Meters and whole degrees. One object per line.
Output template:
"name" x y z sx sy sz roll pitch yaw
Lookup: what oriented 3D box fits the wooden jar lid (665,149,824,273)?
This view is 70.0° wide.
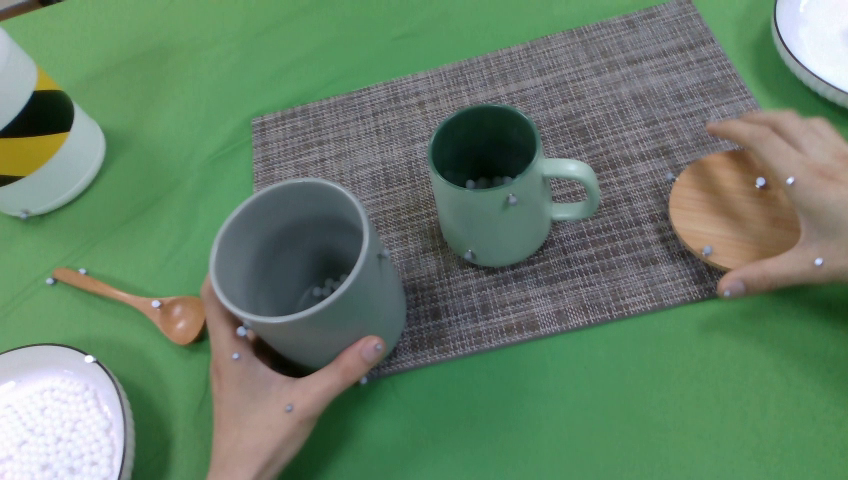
"wooden jar lid" 0.238 -0.021 0.457 0.108 0.021 0.107 -6 60 11

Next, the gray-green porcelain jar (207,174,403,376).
"gray-green porcelain jar" -0.074 0.033 0.430 0.106 0.128 0.105 -6 58 9

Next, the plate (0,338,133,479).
"plate" -0.312 0.176 0.456 0.209 0.038 0.207 -5 59 9

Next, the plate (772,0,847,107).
"plate" 0.402 -0.175 0.505 0.207 0.039 0.206 -5 60 10

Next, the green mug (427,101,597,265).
"green mug" 0.065 -0.039 0.455 0.125 0.106 0.092 5 61 14

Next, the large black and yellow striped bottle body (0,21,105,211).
"large black and yellow striped bottle body" -0.411 -0.126 0.564 0.130 0.186 0.129 -5 60 9

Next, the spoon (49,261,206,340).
"spoon" -0.264 0.044 0.530 0.193 0.022 0.041 16 83 19
